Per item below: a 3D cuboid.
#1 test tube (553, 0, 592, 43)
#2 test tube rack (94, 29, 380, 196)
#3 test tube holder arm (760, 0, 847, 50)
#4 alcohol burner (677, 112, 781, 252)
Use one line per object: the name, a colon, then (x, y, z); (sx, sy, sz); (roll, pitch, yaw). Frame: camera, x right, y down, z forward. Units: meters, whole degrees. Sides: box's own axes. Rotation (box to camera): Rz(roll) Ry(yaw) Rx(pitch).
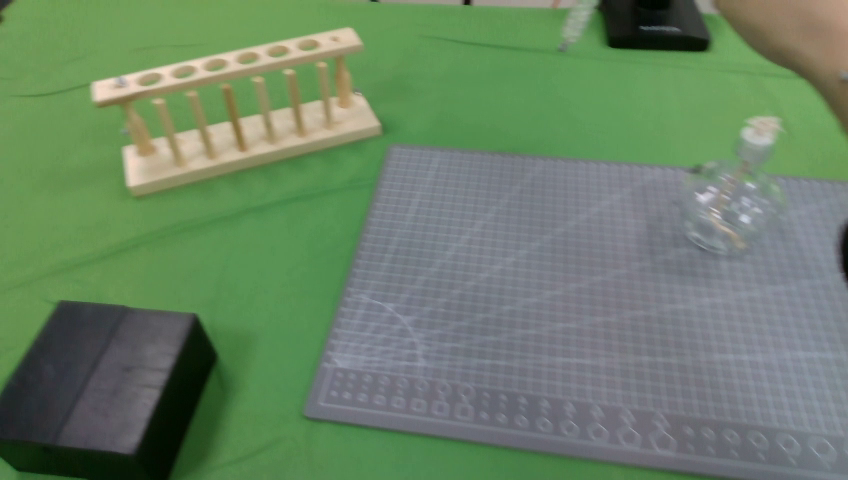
test tube: (0.119, -0.192, 0.386); (0.017, 0.151, 0.017); (10, 49, -12)
test tube rack: (-0.170, -0.125, 0.581); (0.243, 0.086, 0.066); (-17, 49, -14)
test tube holder arm: (0.177, -0.164, 0.361); (0.177, 0.015, 0.013); (38, 52, 15)
alcohol burner: (0.245, -0.048, 0.476); (0.078, 0.120, 0.077); (0, 45, 0)
